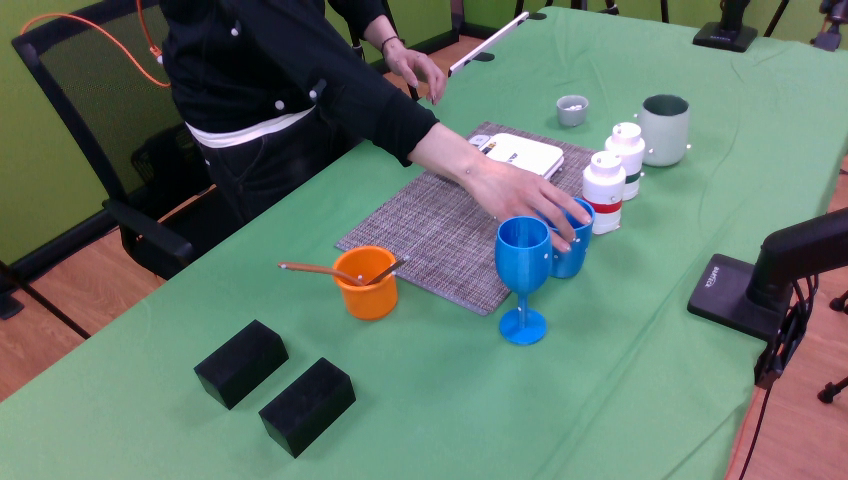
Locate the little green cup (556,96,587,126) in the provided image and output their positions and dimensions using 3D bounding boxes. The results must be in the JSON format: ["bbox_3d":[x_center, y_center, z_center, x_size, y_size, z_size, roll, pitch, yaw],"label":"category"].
[{"bbox_3d":[0.295,-0.258,1.214,0.061,0.039,0.061,-4,42,4],"label":"little green cup"}]

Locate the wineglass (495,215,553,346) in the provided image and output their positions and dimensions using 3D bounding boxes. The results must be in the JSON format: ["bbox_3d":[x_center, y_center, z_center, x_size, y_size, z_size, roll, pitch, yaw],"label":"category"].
[{"bbox_3d":[0.127,0.054,0.770,0.074,0.173,0.073,-4,40,4],"label":"wineglass"}]

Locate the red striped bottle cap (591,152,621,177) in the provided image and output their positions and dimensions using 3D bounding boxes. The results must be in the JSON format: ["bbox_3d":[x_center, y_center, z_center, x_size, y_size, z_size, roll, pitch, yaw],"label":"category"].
[{"bbox_3d":[0.273,-0.114,0.907,0.044,0.018,0.044,-5,38,4],"label":"red striped bottle cap"}]

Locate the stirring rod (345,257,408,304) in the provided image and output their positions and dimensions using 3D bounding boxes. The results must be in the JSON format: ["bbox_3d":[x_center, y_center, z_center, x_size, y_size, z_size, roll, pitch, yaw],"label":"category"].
[{"bbox_3d":[-0.067,0.057,0.815,0.014,0.175,0.006,-24,81,-38],"label":"stirring rod"}]

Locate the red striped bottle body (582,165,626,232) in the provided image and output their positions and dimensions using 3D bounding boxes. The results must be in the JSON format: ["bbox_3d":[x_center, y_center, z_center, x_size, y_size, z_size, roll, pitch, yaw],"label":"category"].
[{"bbox_3d":[0.279,-0.075,0.942,0.063,0.120,0.062,-4,41,4],"label":"red striped bottle body"}]

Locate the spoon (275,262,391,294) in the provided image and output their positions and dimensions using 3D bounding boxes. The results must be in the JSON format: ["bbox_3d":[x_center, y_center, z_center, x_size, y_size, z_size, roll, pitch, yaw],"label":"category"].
[{"bbox_3d":[-0.120,0.050,0.830,0.041,0.195,0.021,30,96,45],"label":"spoon"}]

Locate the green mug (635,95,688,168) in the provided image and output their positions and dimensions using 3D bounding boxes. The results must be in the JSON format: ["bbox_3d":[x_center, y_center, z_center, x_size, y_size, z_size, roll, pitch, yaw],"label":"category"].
[{"bbox_3d":[0.421,-0.201,1.081,0.092,0.105,0.125,5,42,15],"label":"green mug"}]

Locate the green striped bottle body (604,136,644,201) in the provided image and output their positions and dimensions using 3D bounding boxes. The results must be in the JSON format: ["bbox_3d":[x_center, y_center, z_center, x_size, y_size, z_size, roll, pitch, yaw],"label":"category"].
[{"bbox_3d":[0.326,-0.128,0.997,0.063,0.120,0.063,-4,41,4],"label":"green striped bottle body"}]

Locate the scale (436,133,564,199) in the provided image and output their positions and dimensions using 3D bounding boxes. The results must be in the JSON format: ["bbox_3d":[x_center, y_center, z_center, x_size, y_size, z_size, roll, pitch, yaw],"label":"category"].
[{"bbox_3d":[0.137,-0.142,1.101,0.199,0.032,0.149,22,48,30],"label":"scale"}]

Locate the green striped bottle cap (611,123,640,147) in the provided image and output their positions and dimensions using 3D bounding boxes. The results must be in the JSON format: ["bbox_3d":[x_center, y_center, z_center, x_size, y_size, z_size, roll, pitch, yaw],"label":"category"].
[{"bbox_3d":[0.322,-0.168,0.963,0.044,0.020,0.044,-4,41,4],"label":"green striped bottle cap"}]

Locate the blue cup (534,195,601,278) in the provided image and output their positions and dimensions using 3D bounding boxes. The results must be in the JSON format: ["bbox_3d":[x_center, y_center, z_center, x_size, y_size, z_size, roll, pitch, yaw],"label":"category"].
[{"bbox_3d":[0.202,0.000,0.879,0.092,0.100,0.092,-4,40,3],"label":"blue cup"}]
